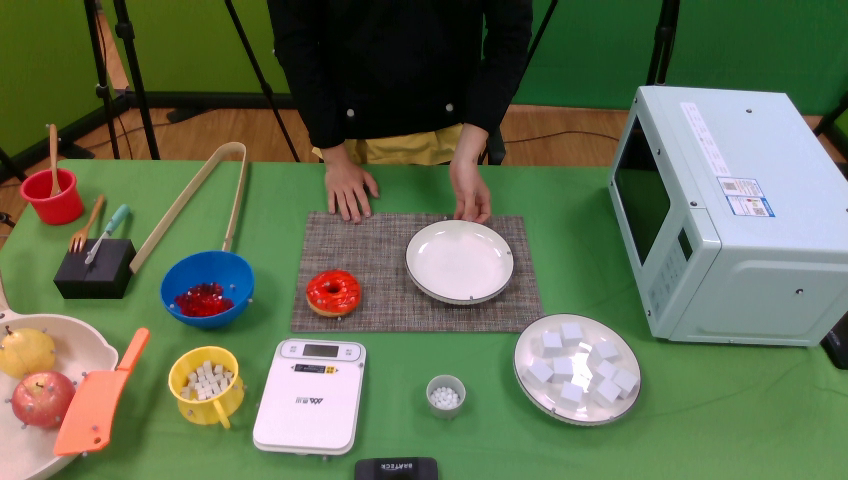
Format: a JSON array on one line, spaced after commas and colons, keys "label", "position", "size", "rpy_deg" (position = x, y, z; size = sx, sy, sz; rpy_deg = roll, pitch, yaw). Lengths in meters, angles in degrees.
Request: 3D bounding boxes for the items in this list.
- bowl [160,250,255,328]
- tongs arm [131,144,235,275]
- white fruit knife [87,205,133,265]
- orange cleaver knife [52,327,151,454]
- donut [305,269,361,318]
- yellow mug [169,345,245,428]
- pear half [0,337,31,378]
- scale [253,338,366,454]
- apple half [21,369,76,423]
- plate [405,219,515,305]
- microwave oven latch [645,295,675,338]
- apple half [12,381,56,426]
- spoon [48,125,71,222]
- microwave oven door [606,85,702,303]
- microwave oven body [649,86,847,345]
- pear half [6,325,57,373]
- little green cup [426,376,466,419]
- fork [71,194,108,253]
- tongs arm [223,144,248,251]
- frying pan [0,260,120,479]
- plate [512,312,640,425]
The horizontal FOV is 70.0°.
[{"label": "bowl", "position": [-0.362, 0.098, 1.040], "size": [0.151, 0.077, 0.150], "rpy_deg": [2, 45, -2]}, {"label": "tongs arm", "position": [-0.484, -0.075, 1.237], "size": [0.028, 0.028, 0.385], "rpy_deg": [5, 45, 14]}, {"label": "white fruit knife", "position": [-0.584, -0.013, 1.129], "size": [0.016, 0.027, 0.206], "rpy_deg": [0, 31, -5]}, {"label": "orange cleaver knife", "position": [-0.462, 0.212, 0.879], "size": [0.077, 0.012, 0.210], "rpy_deg": [6, 45, -1]}, {"label": "donut", "position": [-0.160, 0.094, 1.075], "size": [0.099, 0.048, 0.098], "rpy_deg": [3, 45, -3]}, {"label": "yellow mug", "position": [-0.322, 0.230, 0.922], "size": [0.100, 0.064, 0.130], "rpy_deg": [-24, 53, -25]}, {"label": "pear half", "position": [-0.631, 0.183, 0.923], "size": [0.070, 0.088, 0.031], "rpy_deg": [28, 50, 14]}, {"label": "scale", "position": [-0.175, 0.236, 0.951], "size": [0.149, 0.032, 0.199], "rpy_deg": [4, 45, 0]}, {"label": "apple half", "position": [-0.546, 0.226, 0.898], "size": [0.080, 0.075, 0.053], "rpy_deg": [30, 48, 27]}, {"label": "plate", "position": [0.067, 0.044, 1.144], "size": [0.209, 0.038, 0.208], "rpy_deg": [2, 46, -2]}, {"label": "microwave oven latch", "position": [0.411, 0.134, 1.061], "size": [0.030, 0.029, 0.078], "rpy_deg": [3, 45, 0]}, {"label": "apple half", "position": [-0.570, 0.246, 0.875], "size": [0.081, 0.081, 0.033], "rpy_deg": [32, 49, 25]}, {"label": "spoon", "position": [-0.719, -0.131, 1.189], "size": [0.041, 0.021, 0.193], "rpy_deg": [-3, 91, -6]}, {"label": "microwave oven door", "position": [0.422, -0.094, 1.140], "size": [0.039, 0.245, 0.353], "rpy_deg": [2, 46, -1]}, {"label": "microwave oven body", "position": [0.567, -0.053, 1.118], "size": [0.326, 0.261, 0.439], "rpy_deg": [2, 45, -1]}, {"label": "pear half", "position": [-0.607, 0.158, 0.935], "size": [0.076, 0.110, 0.056], "rpy_deg": [31, 51, 19]}, {"label": "little green cup", "position": [0.033, 0.248, 0.950], "size": [0.061, 0.039, 0.061], "rpy_deg": [2, 46, -2]}, {"label": "fork", "position": [-0.634, -0.036, 1.158], "size": [0.028, 0.019, 0.206], "rpy_deg": [-8, 31, -8]}, {"label": "tongs arm", "position": [-0.397, -0.073, 1.232], "size": [0.051, 0.027, 0.382], "rpy_deg": [-3, 45, 1]}, {"label": "frying pan", "position": [-0.647, 0.164, 0.936], "size": [0.307, 0.103, 0.485], "rpy_deg": [-19, 58, -22]}, {"label": "plate", "position": [0.246, 0.213, 0.999], "size": [0.208, 0.039, 0.206], "rpy_deg": [2, 46, -2]}]
